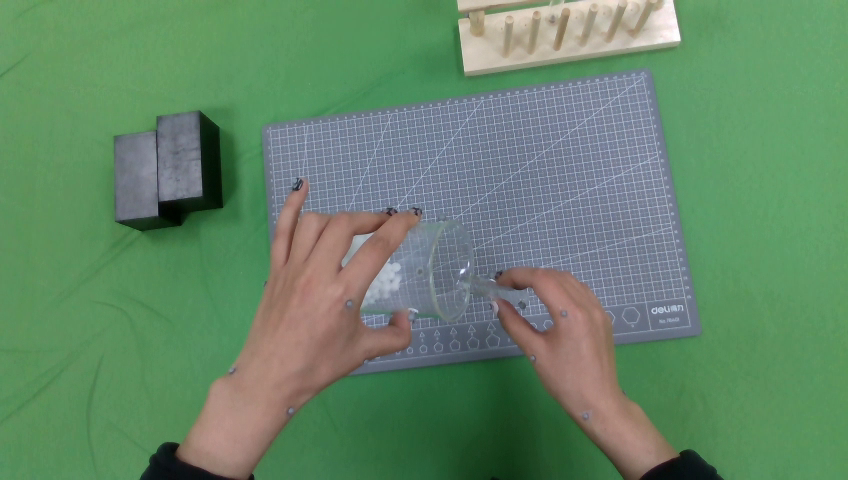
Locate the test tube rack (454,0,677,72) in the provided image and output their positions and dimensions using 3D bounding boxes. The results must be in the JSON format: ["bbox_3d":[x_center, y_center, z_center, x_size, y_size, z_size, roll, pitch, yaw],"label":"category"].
[{"bbox_3d":[0.156,-0.249,0.659,0.242,0.085,0.066,-7,79,4],"label":"test tube rack"}]

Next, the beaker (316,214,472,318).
[{"bbox_3d":[-0.022,0.020,0.459,0.100,0.085,0.073,1,73,27],"label":"beaker"}]

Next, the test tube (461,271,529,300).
[{"bbox_3d":[0.067,0.042,0.538,0.017,0.151,0.017,-4,80,25],"label":"test tube"}]

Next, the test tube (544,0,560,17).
[{"bbox_3d":[0.139,-0.274,0.615,0.017,0.151,0.017,-1,76,3],"label":"test tube"}]
